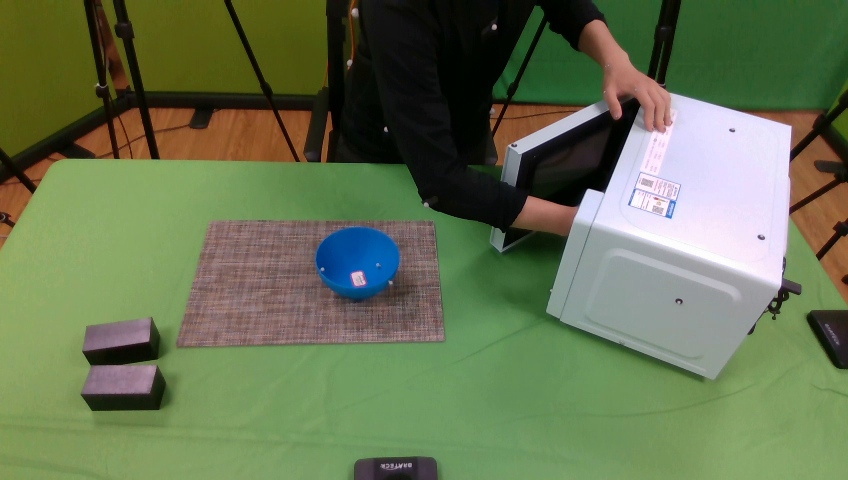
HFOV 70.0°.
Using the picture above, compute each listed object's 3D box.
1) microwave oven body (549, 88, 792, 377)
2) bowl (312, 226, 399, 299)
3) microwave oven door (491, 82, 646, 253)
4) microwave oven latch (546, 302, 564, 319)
[{"bbox_3d":[0.456,-0.028,1.088,0.325,0.261,0.440,20,47,16],"label":"microwave oven body"},{"bbox_3d":[-0.121,0.054,1.091,0.151,0.077,0.150,2,46,-2],"label":"bowl"},{"bbox_3d":[0.284,-0.144,1.179,0.356,0.245,0.039,-29,53,-27],"label":"microwave oven door"},{"bbox_3d":[0.242,0.102,1.081,0.030,0.029,0.079,22,48,17],"label":"microwave oven latch"}]
